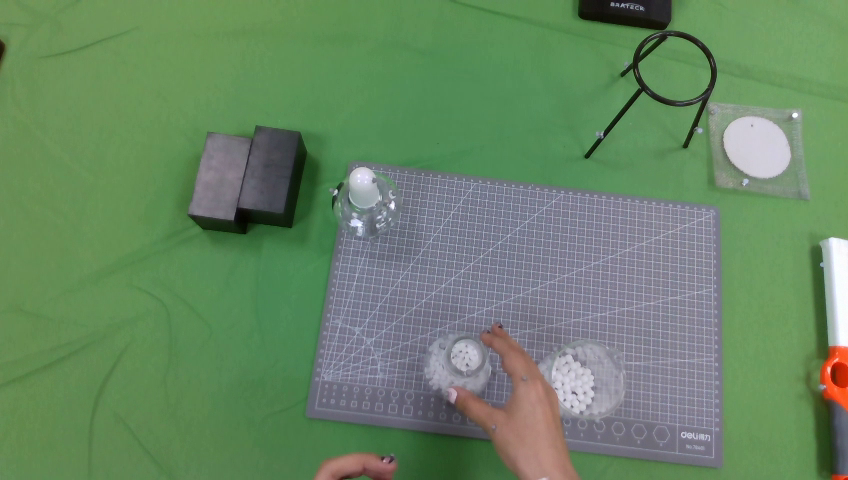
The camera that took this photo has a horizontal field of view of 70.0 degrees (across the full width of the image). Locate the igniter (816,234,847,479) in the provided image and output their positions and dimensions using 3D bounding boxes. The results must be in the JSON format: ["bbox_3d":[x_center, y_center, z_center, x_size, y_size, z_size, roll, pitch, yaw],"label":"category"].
[{"bbox_3d":[0.466,0.127,0.679,0.057,0.025,0.275,11,73,-11],"label":"igniter"}]

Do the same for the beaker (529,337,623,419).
[{"bbox_3d":[0.153,0.141,0.621,0.084,0.101,0.073,-34,78,-12],"label":"beaker"}]

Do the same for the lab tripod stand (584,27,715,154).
[{"bbox_3d":[0.258,-0.164,0.697,0.148,0.132,0.147,1,76,-2],"label":"lab tripod stand"}]

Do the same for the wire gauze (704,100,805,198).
[{"bbox_3d":[0.413,-0.117,0.756,0.125,0.011,0.121,6,74,-3],"label":"wire gauze"}]

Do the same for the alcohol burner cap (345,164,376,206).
[{"bbox_3d":[-0.065,-0.059,0.623,0.034,0.048,0.033,2,66,-4],"label":"alcohol burner cap"}]

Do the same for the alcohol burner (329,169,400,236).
[{"bbox_3d":[-0.066,-0.048,0.657,0.078,0.119,0.077,0,74,0],"label":"alcohol burner"}]

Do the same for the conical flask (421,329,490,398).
[{"bbox_3d":[0.035,0.120,0.610,0.075,0.122,0.075,0,74,-1],"label":"conical flask"}]
